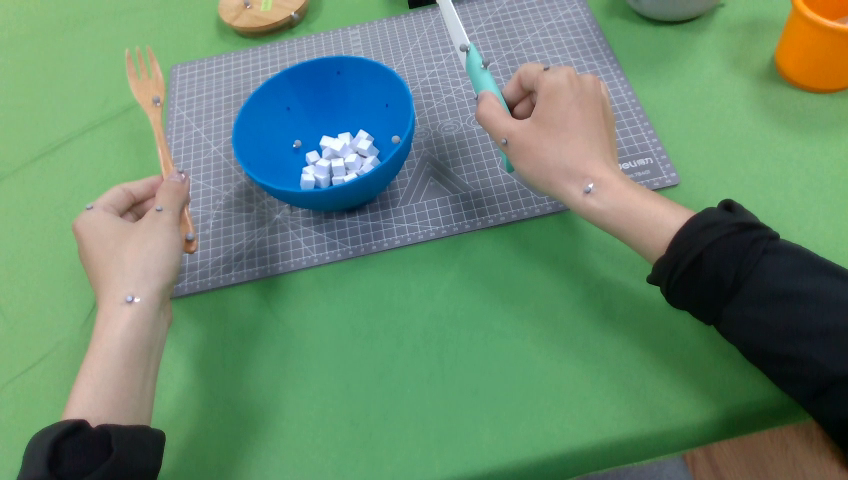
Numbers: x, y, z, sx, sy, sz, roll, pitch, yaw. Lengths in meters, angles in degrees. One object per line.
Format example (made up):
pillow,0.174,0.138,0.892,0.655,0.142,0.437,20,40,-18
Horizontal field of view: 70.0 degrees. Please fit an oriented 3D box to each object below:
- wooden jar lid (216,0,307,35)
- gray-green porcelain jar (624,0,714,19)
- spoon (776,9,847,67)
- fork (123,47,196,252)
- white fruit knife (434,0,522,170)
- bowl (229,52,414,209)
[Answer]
wooden jar lid,-0.183,-0.273,0.695,0.108,0.021,0.107,-3,58,5
gray-green porcelain jar,0.242,-0.287,0.574,0.106,0.128,0.105,-4,57,7
spoon,0.384,-0.204,0.486,0.022,0.194,0.041,17,54,-34
fork,-0.214,-0.079,0.492,0.028,0.019,0.205,-9,61,-32
white fruit knife,0.036,-0.148,0.496,0.016,0.027,0.205,-10,64,-23
bowl,-0.078,-0.079,0.517,0.151,0.077,0.150,-4,57,6
